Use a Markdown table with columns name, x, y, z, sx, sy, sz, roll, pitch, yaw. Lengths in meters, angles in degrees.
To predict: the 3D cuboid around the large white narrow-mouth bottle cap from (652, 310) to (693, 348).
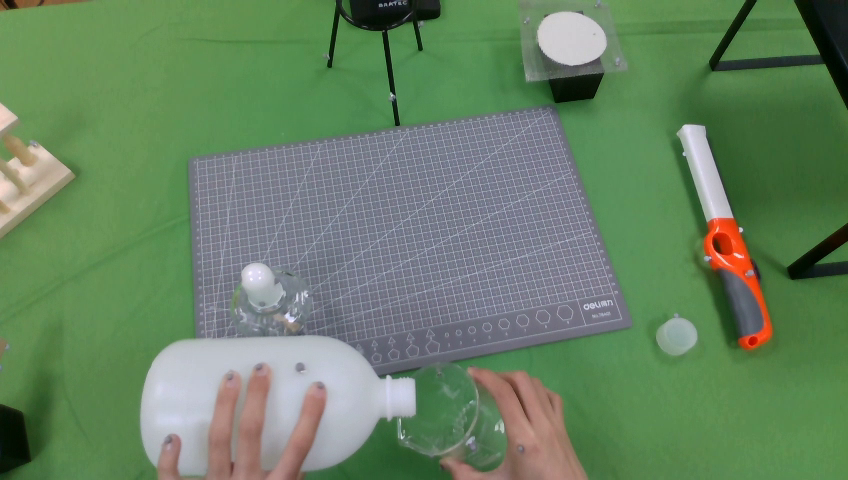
| name | x | y | z | sx | sy | sz | roll | pitch | yaw |
| --- | --- | --- | --- | --- | --- | --- | --- | --- | --- |
| large white narrow-mouth bottle cap | 0.259 | 0.093 | 0.635 | 0.038 | 0.024 | 0.037 | 1 | 65 | -1 |

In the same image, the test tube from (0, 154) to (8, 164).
| name | x | y | z | sx | sy | sz | roll | pitch | yaw |
| --- | --- | --- | --- | --- | --- | --- | --- | --- | --- |
| test tube | -0.476 | -0.116 | 0.614 | 0.017 | 0.151 | 0.017 | -1 | 64 | 2 |

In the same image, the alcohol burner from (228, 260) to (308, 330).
| name | x | y | z | sx | sy | sz | roll | pitch | yaw |
| --- | --- | --- | --- | --- | --- | --- | --- | --- | --- |
| alcohol burner | -0.154 | 0.049 | 0.585 | 0.078 | 0.120 | 0.077 | 2 | 63 | -3 |

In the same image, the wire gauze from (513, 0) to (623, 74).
| name | x | y | z | sx | sy | sz | roll | pitch | yaw |
| --- | --- | --- | --- | --- | --- | --- | --- | --- | --- |
| wire gauze | 0.173 | -0.257 | 0.744 | 0.121 | 0.011 | 0.124 | -3 | 65 | -3 |

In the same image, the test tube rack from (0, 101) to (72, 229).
| name | x | y | z | sx | sy | sz | roll | pitch | yaw |
| --- | --- | --- | --- | --- | --- | --- | --- | --- | --- |
| test tube rack | -0.506 | -0.032 | 0.629 | 0.066 | 0.086 | 0.242 | 36 | 69 | 14 |

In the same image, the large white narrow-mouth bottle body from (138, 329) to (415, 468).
| name | x | y | z | sx | sy | sz | roll | pitch | yaw |
| --- | --- | --- | --- | --- | --- | --- | --- | --- | --- |
| large white narrow-mouth bottle body | -0.105 | 0.119 | 0.468 | 0.195 | 0.102 | 0.101 | -1 | 65 | -3 |

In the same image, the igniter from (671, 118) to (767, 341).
| name | x | y | z | sx | sy | sz | roll | pitch | yaw |
| --- | --- | --- | --- | --- | --- | --- | --- | --- | --- |
| igniter | 0.330 | -0.020 | 0.684 | 0.057 | 0.025 | 0.274 | 0 | 65 | -13 |

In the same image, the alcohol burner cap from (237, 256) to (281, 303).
| name | x | y | z | sx | sy | sz | roll | pitch | yaw |
| --- | --- | --- | --- | --- | --- | --- | --- | --- | --- |
| alcohol burner cap | -0.152 | 0.034 | 0.552 | 0.034 | 0.048 | 0.033 | -1 | 61 | 2 |

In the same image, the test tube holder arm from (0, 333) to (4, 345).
| name | x | y | z | sx | sy | sz | roll | pitch | yaw |
| --- | --- | --- | --- | --- | --- | --- | --- | --- | --- |
| test tube holder arm | -0.404 | 0.165 | 0.526 | 0.013 | 0.015 | 0.177 | -4 | 63 | 9 |

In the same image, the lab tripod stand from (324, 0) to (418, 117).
| name | x | y | z | sx | sy | sz | roll | pitch | yaw |
| --- | --- | --- | --- | --- | --- | --- | --- | --- | --- |
| lab tripod stand | -0.055 | -0.242 | 0.715 | 0.148 | 0.132 | 0.147 | 2 | 66 | -3 |

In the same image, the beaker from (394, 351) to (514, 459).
| name | x | y | z | sx | sy | sz | roll | pitch | yaw |
| --- | --- | --- | --- | --- | --- | --- | --- | --- | --- |
| beaker | 0.029 | 0.150 | 0.526 | 0.084 | 0.101 | 0.073 | -41 | 52 | 6 |
